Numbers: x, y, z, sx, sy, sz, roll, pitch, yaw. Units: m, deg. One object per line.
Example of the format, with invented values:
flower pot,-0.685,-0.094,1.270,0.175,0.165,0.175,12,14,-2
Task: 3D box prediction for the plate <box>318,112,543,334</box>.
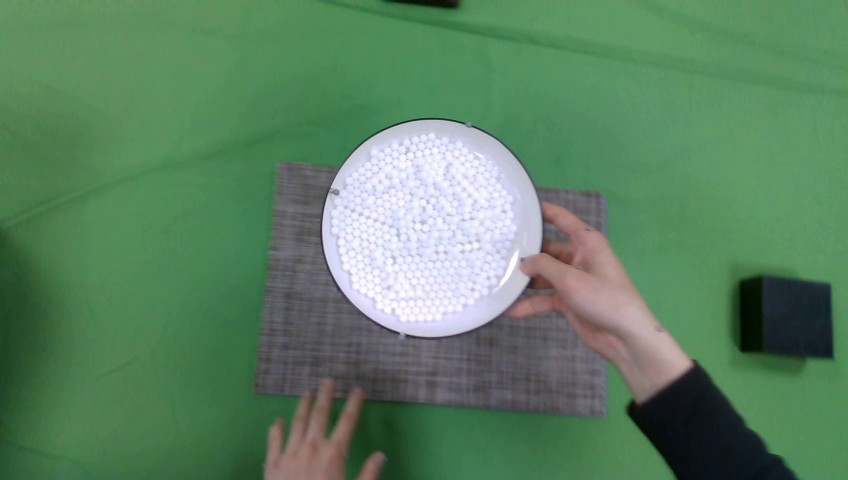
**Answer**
plate,0.006,-0.016,0.574,0.209,0.038,0.208,0,82,1
